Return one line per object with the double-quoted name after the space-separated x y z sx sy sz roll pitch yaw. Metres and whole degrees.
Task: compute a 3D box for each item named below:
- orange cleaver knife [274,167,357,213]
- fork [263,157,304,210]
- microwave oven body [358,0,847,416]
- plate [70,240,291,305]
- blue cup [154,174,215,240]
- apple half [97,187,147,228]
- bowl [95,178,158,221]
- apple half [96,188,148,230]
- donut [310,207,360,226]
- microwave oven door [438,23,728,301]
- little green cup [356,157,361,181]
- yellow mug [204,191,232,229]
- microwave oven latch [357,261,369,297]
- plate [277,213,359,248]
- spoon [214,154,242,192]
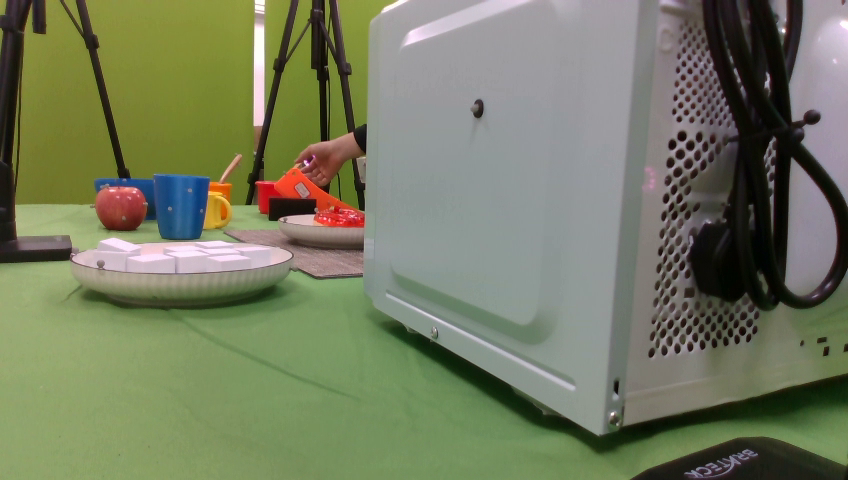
-0.238 -0.091 1.380 0.212 0.077 0.012 31 -5 -19 "orange cleaver knife"
-0.345 -0.143 1.505 0.028 0.019 0.207 -4 46 29 "fork"
0.211 -0.047 0.474 0.444 0.260 0.324 -1 7 -28 "microwave oven body"
-0.242 0.031 0.618 0.208 0.039 0.207 2 8 0 "plate"
-0.391 -0.053 0.978 0.093 0.100 0.092 4 6 0 "blue cup"
-0.534 -0.059 1.071 0.082 0.081 0.032 -1 11 -25 "apple half"
-0.576 -0.081 1.217 0.151 0.077 0.151 3 8 0 "bowl"
-0.517 -0.052 1.036 0.081 0.074 0.053 3 10 -26 "apple half"
-0.137 -0.029 0.995 0.099 0.048 0.099 4 9 0 "donut"
0.181 -0.072 0.621 0.358 0.243 0.039 -2 8 -29 "microwave oven door"
-0.074 -0.110 0.934 0.061 0.038 0.061 -2 11 1 "little green cup"
-0.415 -0.057 1.131 0.130 0.064 0.100 6 7 16 "yellow mug"
-0.019 0.033 0.531 0.079 0.029 0.030 -1 7 -27 "microwave oven latch"
-0.135 -0.017 0.993 0.209 0.038 0.209 3 8 0 "plate"
-0.439 -0.124 1.318 0.041 0.193 0.022 5 -36 17 "spoon"
